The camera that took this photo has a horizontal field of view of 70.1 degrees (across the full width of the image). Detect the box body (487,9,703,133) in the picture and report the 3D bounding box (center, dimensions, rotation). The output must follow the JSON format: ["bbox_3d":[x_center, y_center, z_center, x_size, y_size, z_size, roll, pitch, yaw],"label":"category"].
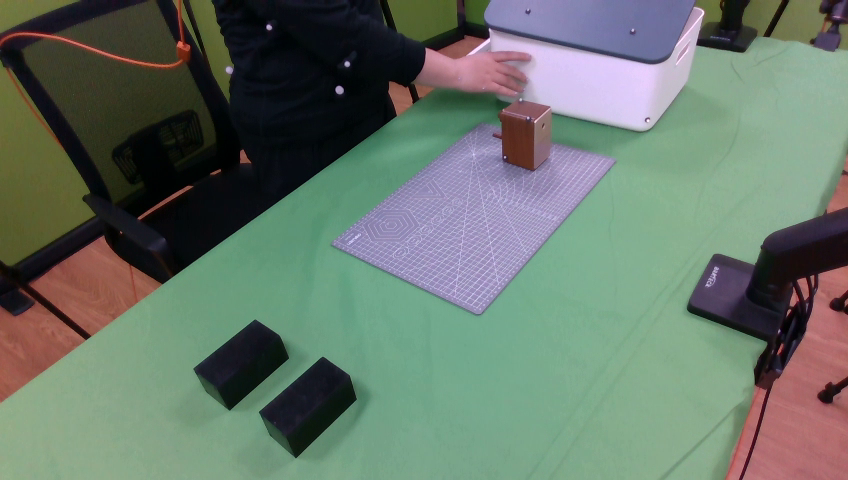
[{"bbox_3d":[0.346,-0.374,1.251,0.361,0.161,0.255,20,48,29],"label":"box body"}]

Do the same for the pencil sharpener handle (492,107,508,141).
[{"bbox_3d":[0.141,-0.215,1.114,0.030,0.068,0.036,22,41,32],"label":"pencil sharpener handle"}]

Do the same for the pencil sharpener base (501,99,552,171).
[{"bbox_3d":[0.184,-0.191,1.097,0.076,0.107,0.061,22,50,32],"label":"pencil sharpener base"}]

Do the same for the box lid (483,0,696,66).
[{"bbox_3d":[0.322,-0.466,1.151,0.369,0.015,0.263,21,73,23],"label":"box lid"}]
